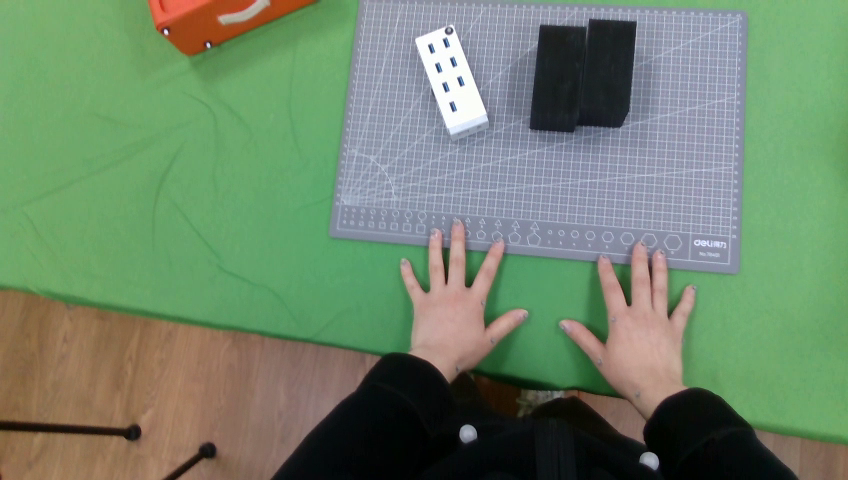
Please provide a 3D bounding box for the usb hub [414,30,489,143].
[{"bbox_3d":[0.032,-0.178,0.702,0.049,0.025,0.124,-21,79,3],"label":"usb hub"}]

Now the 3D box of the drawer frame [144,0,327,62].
[{"bbox_3d":[-0.251,-0.358,0.742,0.201,0.083,0.212,-24,77,3],"label":"drawer frame"}]

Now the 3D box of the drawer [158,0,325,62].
[{"bbox_3d":[-0.250,-0.355,0.743,0.194,0.073,0.210,-23,78,4],"label":"drawer"}]
